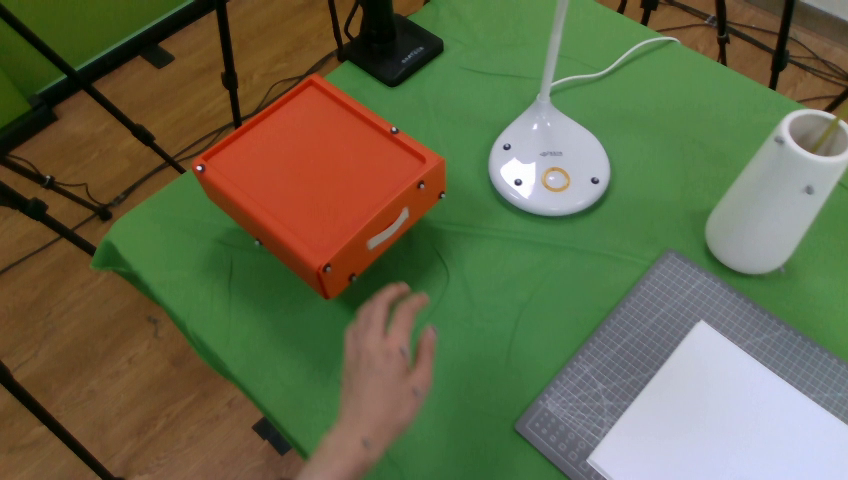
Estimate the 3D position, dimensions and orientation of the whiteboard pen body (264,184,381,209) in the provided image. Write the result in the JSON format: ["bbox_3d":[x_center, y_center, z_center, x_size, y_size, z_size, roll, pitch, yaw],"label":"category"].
[{"bbox_3d":[-0.119,-0.050,0.711,0.140,0.017,0.017,8,58,7],"label":"whiteboard pen body"}]

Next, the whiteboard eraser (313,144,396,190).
[{"bbox_3d":[-0.086,-0.089,0.760,0.112,0.042,0.055,4,63,41],"label":"whiteboard eraser"}]

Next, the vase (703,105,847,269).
[{"bbox_3d":[0.379,-0.053,0.659,0.098,0.202,0.097,-1,56,3],"label":"vase"}]

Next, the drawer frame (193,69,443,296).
[{"bbox_3d":[-0.119,-0.074,0.713,0.212,0.083,0.201,37,67,21],"label":"drawer frame"}]

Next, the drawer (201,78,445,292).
[{"bbox_3d":[-0.114,-0.074,0.708,0.210,0.074,0.194,37,67,22],"label":"drawer"}]

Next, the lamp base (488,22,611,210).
[{"bbox_3d":[0.159,-0.158,0.745,0.161,0.182,0.177,-11,55,-5],"label":"lamp base"}]

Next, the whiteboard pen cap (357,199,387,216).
[{"bbox_3d":[-0.061,-0.038,0.709,0.033,0.018,0.018,9,58,5],"label":"whiteboard pen cap"}]

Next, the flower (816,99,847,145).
[{"bbox_3d":[0.393,-0.104,0.594,0.038,0.364,0.044,26,44,10],"label":"flower"}]
